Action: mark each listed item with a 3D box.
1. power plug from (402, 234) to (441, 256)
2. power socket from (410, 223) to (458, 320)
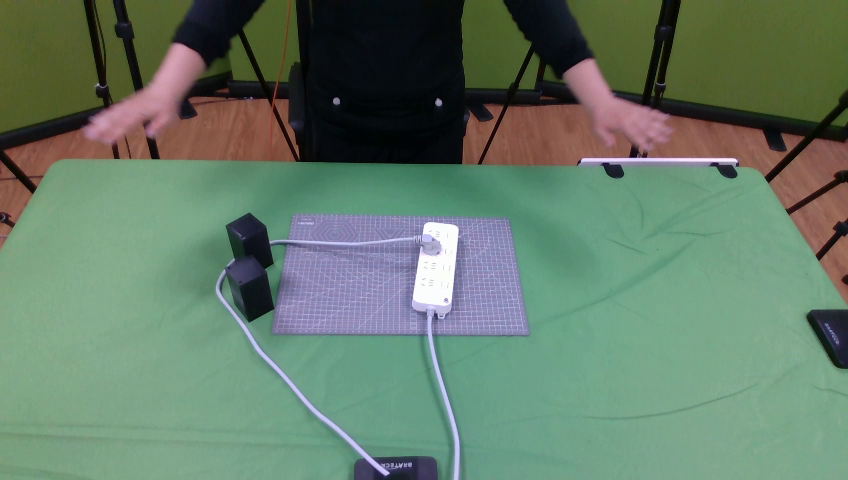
[{"bbox_3d":[-0.003,0.010,1.150,0.072,0.053,0.035,13,46,11],"label":"power plug"},{"bbox_3d":[0.021,0.050,1.139,0.072,0.033,0.225,6,46,3],"label":"power socket"}]
